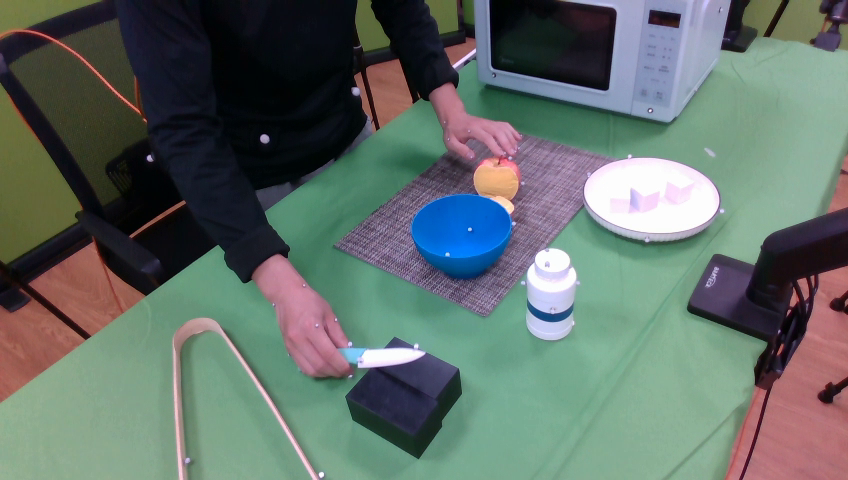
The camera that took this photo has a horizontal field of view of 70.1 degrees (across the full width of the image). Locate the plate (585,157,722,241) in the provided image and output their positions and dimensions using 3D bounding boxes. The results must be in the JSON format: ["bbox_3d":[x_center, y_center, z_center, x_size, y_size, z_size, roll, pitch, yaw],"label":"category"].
[{"bbox_3d":[0.367,-0.063,0.979,0.207,0.039,0.206,-4,40,4],"label":"plate"}]

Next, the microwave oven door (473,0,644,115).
[{"bbox_3d":[0.257,-0.396,1.199,0.353,0.245,0.039,21,48,29],"label":"microwave oven door"}]

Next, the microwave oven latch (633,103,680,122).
[{"bbox_3d":[0.444,-0.249,1.157,0.078,0.029,0.030,21,49,30],"label":"microwave oven latch"}]

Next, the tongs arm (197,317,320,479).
[{"bbox_3d":[-0.199,0.207,0.750,0.028,0.028,0.384,-31,45,-22],"label":"tongs arm"}]

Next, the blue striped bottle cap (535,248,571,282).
[{"bbox_3d":[0.161,0.031,0.753,0.044,0.021,0.044,-4,42,5],"label":"blue striped bottle cap"}]

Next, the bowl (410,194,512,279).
[{"bbox_3d":[0.058,0.005,0.905,0.151,0.077,0.150,-4,40,4],"label":"bowl"}]

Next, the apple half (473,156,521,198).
[{"bbox_3d":[0.128,-0.108,1.031,0.080,0.075,0.053,5,34,18],"label":"apple half"}]

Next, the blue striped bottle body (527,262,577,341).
[{"bbox_3d":[0.165,0.070,0.786,0.063,0.121,0.063,-4,41,4],"label":"blue striped bottle body"}]

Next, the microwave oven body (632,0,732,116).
[{"bbox_3d":[0.377,-0.462,1.267,0.438,0.261,0.327,21,49,30],"label":"microwave oven body"}]

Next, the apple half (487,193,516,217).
[{"bbox_3d":[0.115,-0.043,0.983,0.081,0.033,0.081,-14,34,10],"label":"apple half"}]

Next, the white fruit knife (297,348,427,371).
[{"bbox_3d":[-0.081,0.146,0.751,0.206,0.016,0.027,-10,65,33],"label":"white fruit knife"}]

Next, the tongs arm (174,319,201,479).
[{"bbox_3d":[-0.272,0.234,0.723,0.051,0.026,0.381,-19,40,-15],"label":"tongs arm"}]
